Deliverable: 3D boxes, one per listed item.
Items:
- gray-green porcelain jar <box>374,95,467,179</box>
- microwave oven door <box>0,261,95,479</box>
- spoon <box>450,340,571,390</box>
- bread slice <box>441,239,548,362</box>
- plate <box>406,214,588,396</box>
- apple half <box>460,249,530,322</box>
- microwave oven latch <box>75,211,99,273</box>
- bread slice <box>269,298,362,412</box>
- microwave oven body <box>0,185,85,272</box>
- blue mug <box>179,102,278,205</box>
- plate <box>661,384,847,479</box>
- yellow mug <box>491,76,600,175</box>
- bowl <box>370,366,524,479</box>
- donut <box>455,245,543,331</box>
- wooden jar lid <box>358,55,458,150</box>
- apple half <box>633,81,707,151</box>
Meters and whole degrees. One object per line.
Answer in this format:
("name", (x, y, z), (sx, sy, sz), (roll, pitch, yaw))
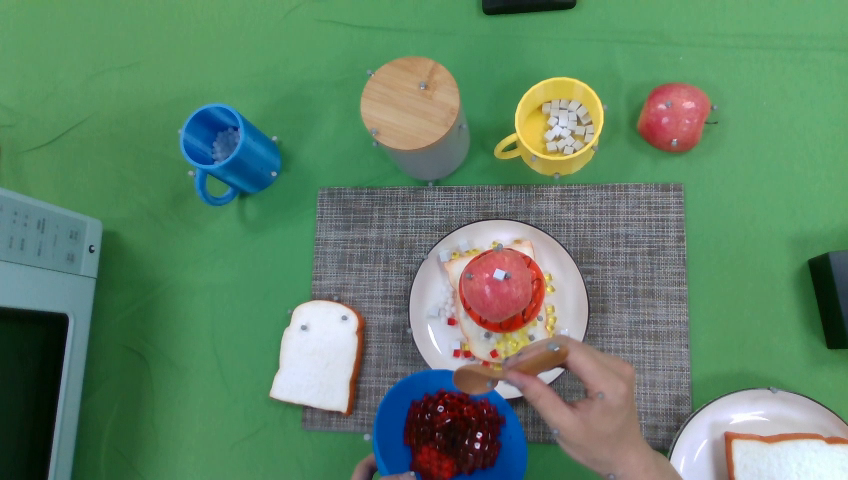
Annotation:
("gray-green porcelain jar", (-0.005, -0.134, 0.716), (0.105, 0.127, 0.105), (-2, 79, 10))
("microwave oven door", (-0.478, 0.200, 0.660), (0.039, 0.245, 0.354), (0, 80, 11))
("spoon", (0.068, 0.105, 0.498), (0.042, 0.194, 0.021), (29, 67, -8))
("bread slice", (0.089, 0.073, 0.706), (0.107, 0.018, 0.133), (-17, 77, 7))
("plate", (0.083, 0.075, 0.705), (0.207, 0.039, 0.207), (-2, 80, 10))
("apple half", (0.075, 0.047, 0.645), (0.081, 0.033, 0.081), (-4, 75, 16))
("microwave oven latch", (-0.450, 0.002, 0.795), (0.030, 0.029, 0.079), (4, 81, 10))
("bread slice", (-0.131, 0.137, 0.743), (0.104, 0.019, 0.131), (8, 83, 10))
("microwave oven body", (-0.619, 0.158, 0.698), (0.325, 0.261, 0.440), (0, 81, 10))
("blue mug", (-0.249, -0.099, 0.762), (0.082, 0.106, 0.116), (21, 84, 13))
("plate", (0.354, 0.255, 0.629), (0.209, 0.038, 0.208), (-2, 80, 11))
("yellow mug", (0.141, -0.128, 0.720), (0.131, 0.064, 0.099), (-22, 77, 6))
("bowl", (0.015, 0.209, 0.596), (0.152, 0.077, 0.150), (10, 42, -9))
("donut", (0.084, 0.054, 0.680), (0.099, 0.048, 0.098), (-2, 80, 11))
("wooden jar lid", (-0.017, -0.146, 0.654), (0.108, 0.021, 0.108), (-2, 78, 7))
("apple half", (0.288, -0.150, 0.705), (0.074, 0.053, 0.080), (23, 85, 16))
